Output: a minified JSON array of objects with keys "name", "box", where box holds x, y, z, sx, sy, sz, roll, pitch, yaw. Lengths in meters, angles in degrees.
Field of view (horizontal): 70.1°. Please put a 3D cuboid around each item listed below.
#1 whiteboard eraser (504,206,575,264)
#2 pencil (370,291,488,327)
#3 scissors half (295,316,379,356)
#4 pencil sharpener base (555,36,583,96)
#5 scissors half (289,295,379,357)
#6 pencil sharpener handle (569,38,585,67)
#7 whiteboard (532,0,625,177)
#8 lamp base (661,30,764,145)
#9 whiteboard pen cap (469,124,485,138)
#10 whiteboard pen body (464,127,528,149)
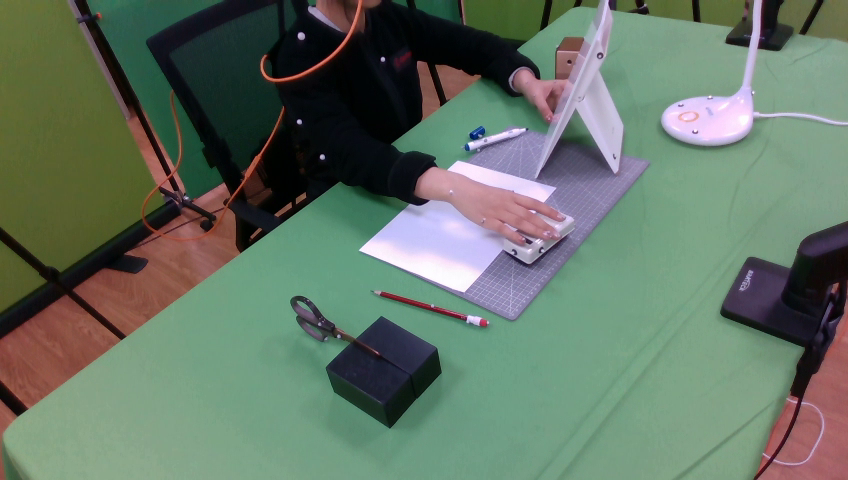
[{"name":"whiteboard eraser","box":[0.179,-0.006,0.936,0.113,0.042,0.055,-35,46,-27]},{"name":"pencil","box":[0.003,0.097,0.877,0.193,0.012,0.012,13,45,26]},{"name":"scissors half","box":[-0.119,0.131,0.813,0.173,0.040,0.013,9,34,45]},{"name":"pencil sharpener base","box":[0.318,-0.371,1.290,0.061,0.107,0.076,10,44,22]},{"name":"scissors half","box":[-0.122,0.114,0.803,0.174,0.040,0.013,26,50,32]},{"name":"pencil sharpener handle","box":[0.333,-0.413,1.317,0.036,0.068,0.030,19,47,13]},{"name":"whiteboard","box":[0.320,-0.258,1.050,0.144,0.306,0.217,21,45,4]},{"name":"lamp base","box":[0.535,-0.287,1.096,0.179,0.181,0.159,-10,40,-4]},{"name":"whiteboard pen cap","box":[0.107,-0.220,1.224,0.033,0.018,0.018,-37,48,-24]},{"name":"whiteboard pen body","box":[0.144,-0.204,1.192,0.141,0.017,0.017,-18,41,-15]}]
